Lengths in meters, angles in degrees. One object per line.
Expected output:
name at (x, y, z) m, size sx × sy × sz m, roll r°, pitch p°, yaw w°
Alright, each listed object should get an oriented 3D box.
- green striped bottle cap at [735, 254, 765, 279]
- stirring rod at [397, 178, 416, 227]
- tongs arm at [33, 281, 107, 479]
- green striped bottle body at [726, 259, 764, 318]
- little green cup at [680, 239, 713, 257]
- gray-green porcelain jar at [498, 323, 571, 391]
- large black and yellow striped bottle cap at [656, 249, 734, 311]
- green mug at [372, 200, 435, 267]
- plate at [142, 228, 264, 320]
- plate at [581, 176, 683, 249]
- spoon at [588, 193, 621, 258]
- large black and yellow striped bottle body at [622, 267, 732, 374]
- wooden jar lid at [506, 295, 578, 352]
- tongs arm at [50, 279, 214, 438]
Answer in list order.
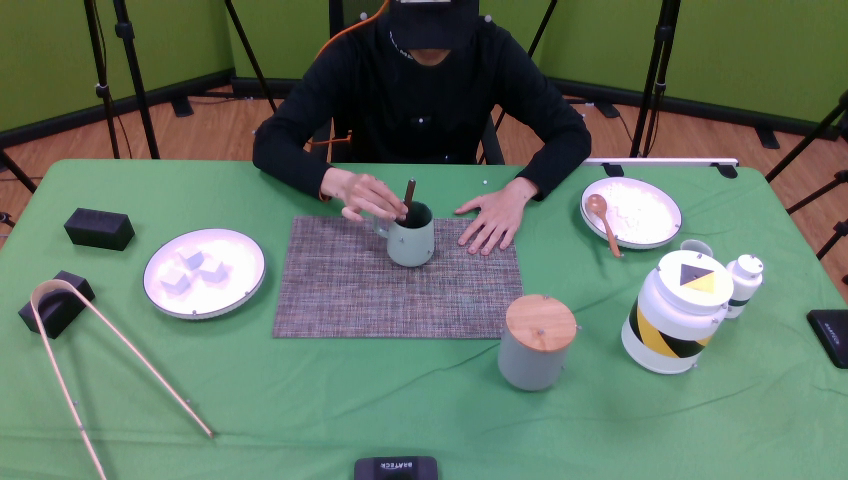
green striped bottle cap at (0.566, 0.046, 1.051) m, size 0.044 × 0.020 × 0.044 m, roll 0°, pitch 45°, yaw 0°
stirring rod at (-0.039, -0.043, 1.112) m, size 0.014 × 0.177 × 0.006 m, roll 9°, pitch 42°, yaw -8°
tongs arm at (-0.517, 0.214, 0.910) m, size 0.051 × 0.026 × 0.383 m, roll -28°, pitch 63°, yaw -27°
green striped bottle body at (0.563, 0.081, 1.089) m, size 0.063 × 0.120 × 0.063 m, roll 2°, pitch 46°, yaw -2°
little green cup at (0.530, 0.033, 1.189) m, size 0.061 × 0.039 × 0.061 m, roll 2°, pitch 48°, yaw -2°
gray-green porcelain jar at (0.176, 0.172, 0.971) m, size 0.106 × 0.127 × 0.105 m, roll 2°, pitch 46°, yaw -2°
large black and yellow striped bottle cap at (0.419, 0.061, 0.938) m, size 0.115 × 0.019 × 0.114 m, roll 2°, pitch 47°, yaw -2°
green mug at (-0.040, -0.016, 1.146) m, size 0.125 × 0.105 × 0.092 m, roll 17°, pitch 48°, yaw 13°
plate at (-0.394, 0.064, 1.095) m, size 0.208 × 0.039 × 0.206 m, roll 2°, pitch 46°, yaw -2°
plate at (0.430, -0.054, 1.267) m, size 0.209 × 0.038 × 0.208 m, roll 2°, pitch 46°, yaw -2°
spoon at (0.367, -0.032, 1.220) m, size 0.041 × 0.022 × 0.192 m, roll 1°, pitch 38°, yaw -1°
large black and yellow striped bottle body at (0.415, 0.119, 0.997) m, size 0.131 × 0.185 × 0.130 m, roll 2°, pitch 46°, yaw -2°
wooden jar lid at (0.179, 0.130, 0.926) m, size 0.108 × 0.021 × 0.107 m, roll 2°, pitch 43°, yaw -2°
tongs arm at (-0.459, 0.178, 0.949) m, size 0.386 × 0.028 × 0.028 m, roll 37°, pitch 60°, yaw 17°
